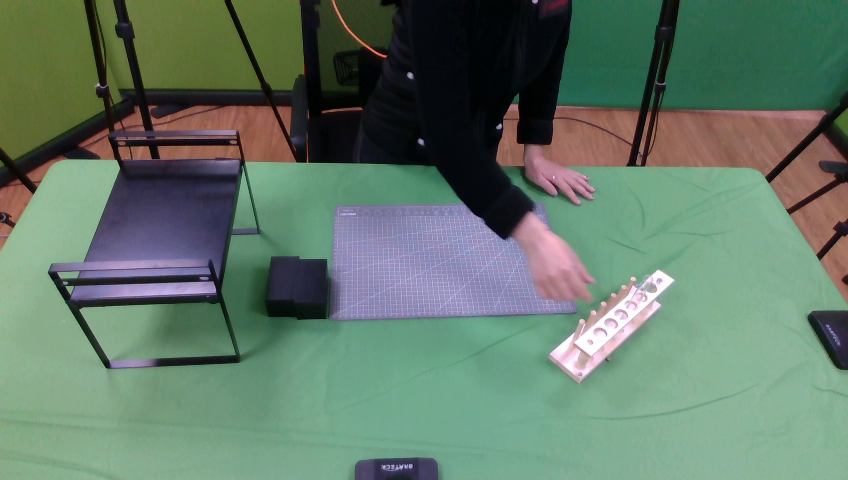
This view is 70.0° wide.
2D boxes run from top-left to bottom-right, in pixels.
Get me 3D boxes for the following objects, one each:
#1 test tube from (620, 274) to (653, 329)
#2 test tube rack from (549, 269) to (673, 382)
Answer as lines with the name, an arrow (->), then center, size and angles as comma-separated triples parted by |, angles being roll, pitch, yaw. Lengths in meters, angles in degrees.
test tube -> 0.349, 0.105, 1.008 | 0.017, 0.151, 0.017 | 2, 51, -2
test tube rack -> 0.325, 0.135, 1.047 | 0.242, 0.085, 0.066 | -32, 55, -30
